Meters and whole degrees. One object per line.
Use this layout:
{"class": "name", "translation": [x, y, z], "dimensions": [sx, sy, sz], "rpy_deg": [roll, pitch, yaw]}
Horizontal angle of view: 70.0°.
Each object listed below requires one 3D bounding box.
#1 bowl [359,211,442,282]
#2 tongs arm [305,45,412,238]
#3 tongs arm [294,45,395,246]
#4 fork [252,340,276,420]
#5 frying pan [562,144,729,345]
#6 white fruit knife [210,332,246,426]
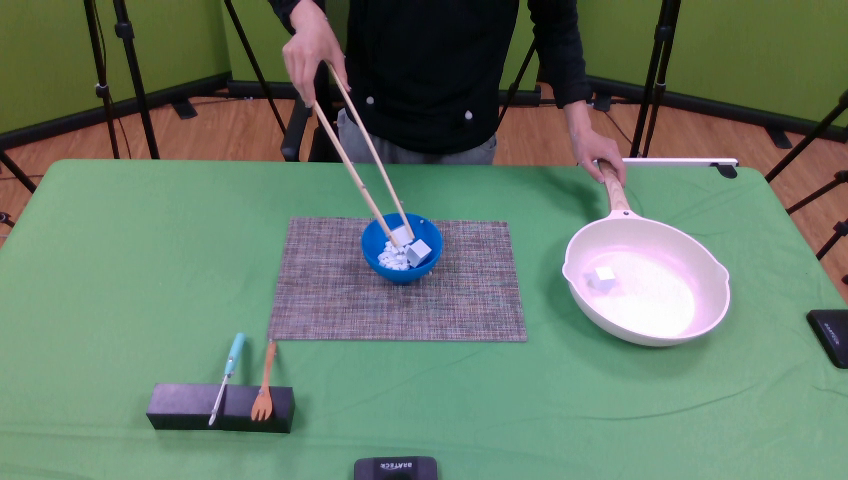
{"class": "bowl", "translation": [-0.044, 0.026, 1.125], "dimensions": [0.151, 0.077, 0.150], "rpy_deg": [2, 47, -2]}
{"class": "tongs arm", "translation": [-0.112, -0.175, 1.061], "dimensions": [0.028, 0.028, 0.387], "rpy_deg": [-26, 85, -7]}
{"class": "tongs arm", "translation": [-0.132, -0.165, 1.056], "dimensions": [0.051, 0.026, 0.384], "rpy_deg": [-30, 86, -11]}
{"class": "fork", "translation": [-0.242, 0.211, 0.932], "dimensions": [0.028, 0.019, 0.206], "rpy_deg": [-7, 27, -5]}
{"class": "frying pan", "translation": [0.396, -0.008, 1.179], "dimensions": [0.307, 0.103, 0.484], "rpy_deg": [1, 55, -4]}
{"class": "white fruit knife", "translation": [-0.301, 0.206, 0.930], "dimensions": [0.016, 0.027, 0.206], "rpy_deg": [5, 29, -7]}
